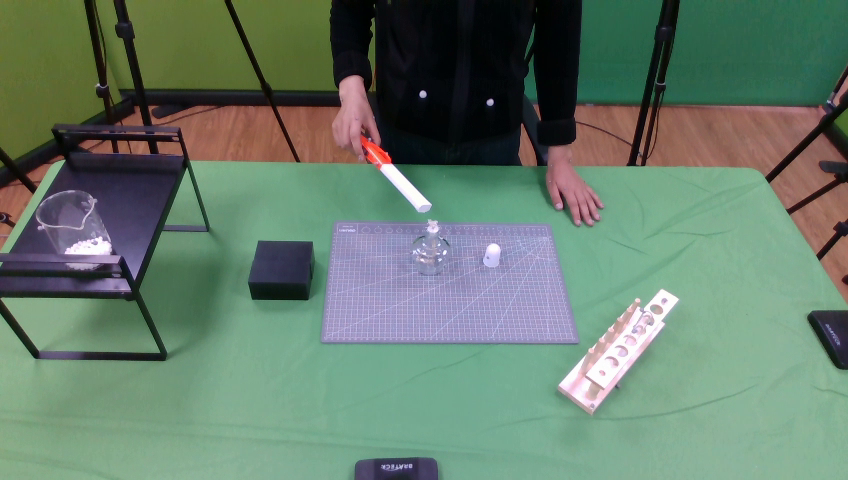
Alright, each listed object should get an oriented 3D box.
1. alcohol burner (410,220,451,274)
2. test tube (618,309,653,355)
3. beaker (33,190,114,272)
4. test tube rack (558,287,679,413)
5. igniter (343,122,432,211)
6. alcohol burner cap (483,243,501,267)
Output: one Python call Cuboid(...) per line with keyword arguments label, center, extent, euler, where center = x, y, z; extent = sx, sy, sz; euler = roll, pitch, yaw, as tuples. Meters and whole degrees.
Cuboid(label="alcohol burner", center=(0.013, 0.007, 1.120), extent=(0.078, 0.120, 0.077), euler=(1, 48, -1))
Cuboid(label="test tube", center=(0.329, 0.155, 0.956), extent=(0.017, 0.151, 0.017), euler=(2, 51, -2))
Cuboid(label="beaker", center=(-0.493, -0.009, 0.865), extent=(0.083, 0.101, 0.074), euler=(37, 55, 27))
Cuboid(label="test tube rack", center=(0.326, 0.170, 1.009), extent=(0.066, 0.085, 0.242), euler=(36, 54, 27))
Cuboid(label="igniter", center=(-0.077, -0.146, 1.150), extent=(0.057, 0.025, 0.275), euler=(-5, 44, -45))
Cuboid(label="alcohol burner cap", center=(0.132, 0.025, 1.161), extent=(0.034, 0.048, 0.033), euler=(3, 47, -3))
